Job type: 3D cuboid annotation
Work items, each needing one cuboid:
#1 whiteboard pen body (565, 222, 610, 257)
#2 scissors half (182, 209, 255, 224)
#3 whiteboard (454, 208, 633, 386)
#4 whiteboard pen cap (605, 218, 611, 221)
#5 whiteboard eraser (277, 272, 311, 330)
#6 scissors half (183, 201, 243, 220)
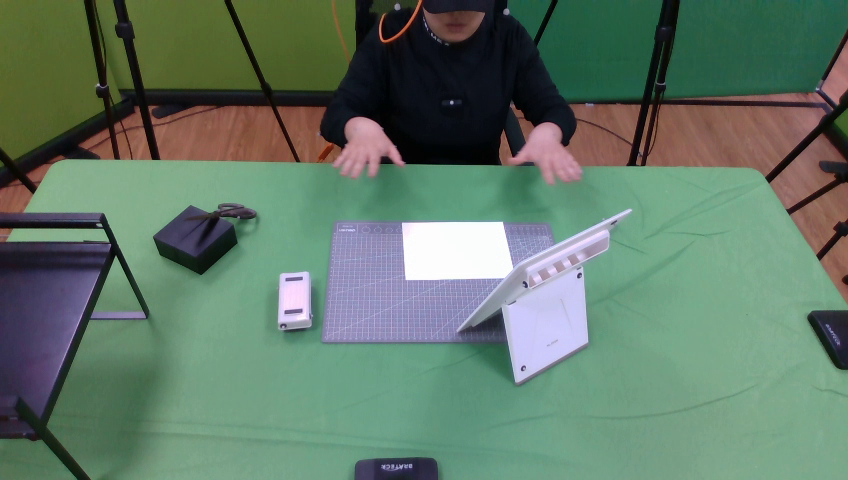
[{"bbox_3d":[0.334,-0.004,1.228,0.141,0.017,0.017,-32,56,-29],"label":"whiteboard pen body"},{"bbox_3d":[-0.389,-0.043,1.158,0.040,0.013,0.175,39,21,23],"label":"scissors half"},{"bbox_3d":[0.211,0.111,0.954,0.217,0.306,0.143,-22,72,-24],"label":"whiteboard"},{"bbox_3d":[0.378,-0.031,1.255,0.033,0.018,0.018,-32,56,-28],"label":"whiteboard pen cap"},{"bbox_3d":[-0.228,0.108,1.062,0.056,0.042,0.112,-3,46,-9],"label":"whiteboard eraser"},{"bbox_3d":[-0.405,-0.054,1.163,0.040,0.013,0.175,28,18,7],"label":"scissors half"}]
